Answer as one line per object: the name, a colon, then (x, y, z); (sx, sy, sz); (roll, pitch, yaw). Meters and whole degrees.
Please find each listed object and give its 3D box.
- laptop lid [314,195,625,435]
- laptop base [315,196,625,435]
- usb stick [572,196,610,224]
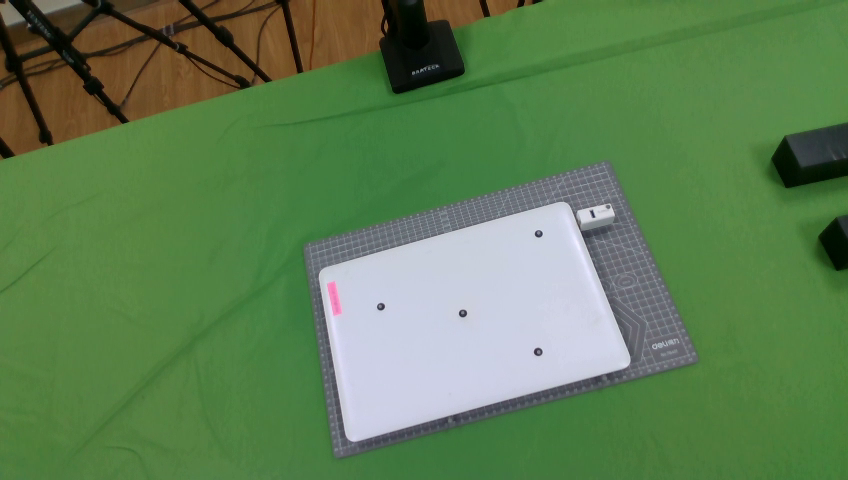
laptop lid: (0.046, 0.086, 0.765); (0.357, 0.013, 0.239); (-15, 66, 2)
laptop base: (0.047, 0.089, 0.776); (0.354, 0.023, 0.233); (-16, 67, 1)
usb stick: (0.212, -0.038, 0.796); (0.059, 0.027, 0.021); (-15, 64, 4)
